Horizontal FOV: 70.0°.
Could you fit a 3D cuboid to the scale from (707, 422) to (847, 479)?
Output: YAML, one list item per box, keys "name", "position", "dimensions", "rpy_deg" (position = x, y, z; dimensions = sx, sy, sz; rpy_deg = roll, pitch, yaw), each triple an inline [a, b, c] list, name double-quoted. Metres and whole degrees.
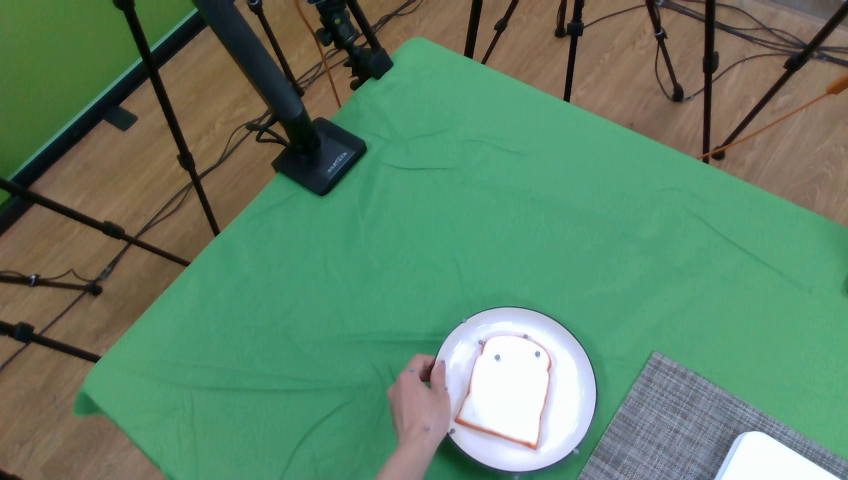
- name: "scale"
  position: [0.379, 0.318, 0.667]
  dimensions: [0.147, 0.032, 0.200]
  rpy_deg: [31, 71, 22]

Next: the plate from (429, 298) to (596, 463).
- name: "plate"
  position: [0.111, 0.177, 0.773]
  dimensions: [0.209, 0.038, 0.207]
  rpy_deg: [-1, 64, 3]

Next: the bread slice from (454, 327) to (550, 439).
- name: "bread slice"
  position: [0.105, 0.175, 0.776]
  dimensions: [0.104, 0.019, 0.131]
  rpy_deg: [15, 65, 9]
